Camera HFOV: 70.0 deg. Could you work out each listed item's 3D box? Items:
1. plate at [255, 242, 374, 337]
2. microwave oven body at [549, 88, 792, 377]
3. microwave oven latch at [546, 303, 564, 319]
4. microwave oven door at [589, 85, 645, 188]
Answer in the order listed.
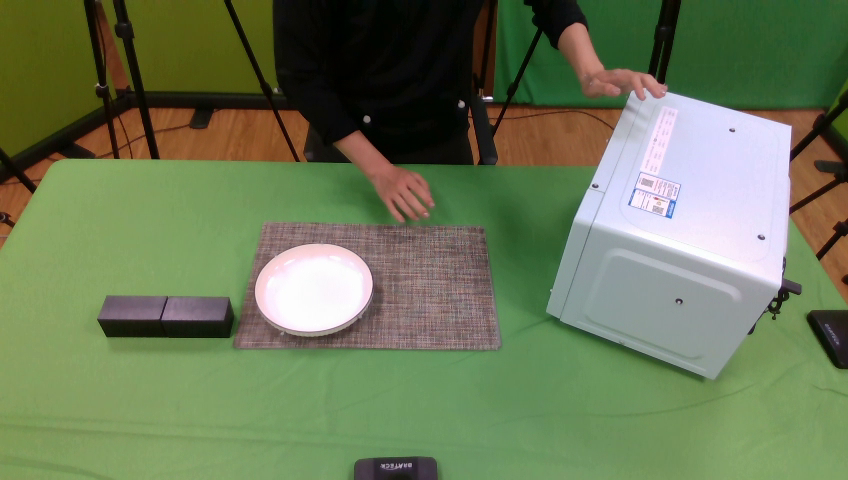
[{"bbox_3d":[-0.192,0.090,1.079,0.208,0.039,0.206,2,46,-2],"label":"plate"},{"bbox_3d":[0.456,-0.028,1.088,0.325,0.261,0.440,20,47,16],"label":"microwave oven body"},{"bbox_3d":[0.242,0.102,1.081,0.030,0.029,0.079,22,48,17],"label":"microwave oven latch"},{"bbox_3d":[0.342,-0.107,1.149,0.039,0.245,0.354,20,48,15],"label":"microwave oven door"}]
